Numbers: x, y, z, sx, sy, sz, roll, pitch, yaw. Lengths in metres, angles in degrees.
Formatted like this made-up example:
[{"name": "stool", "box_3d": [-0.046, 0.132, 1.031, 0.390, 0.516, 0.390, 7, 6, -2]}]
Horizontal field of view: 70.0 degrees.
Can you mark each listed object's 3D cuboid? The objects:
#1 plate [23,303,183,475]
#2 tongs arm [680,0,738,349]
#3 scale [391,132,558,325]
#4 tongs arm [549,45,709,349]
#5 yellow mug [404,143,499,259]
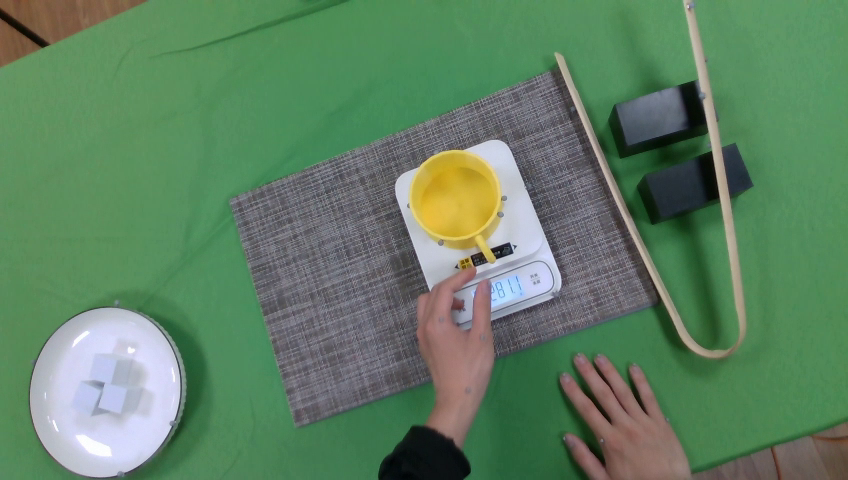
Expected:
[{"name": "plate", "box_3d": [-0.393, 0.182, 0.755, 0.207, 0.039, 0.207, -1, 83, 8]}, {"name": "tongs arm", "box_3d": [0.288, -0.078, 0.643, 0.050, 0.026, 0.384, -12, 87, 34]}, {"name": "scale", "box_3d": [0.057, -0.014, 0.709, 0.148, 0.032, 0.200, -21, 81, 6]}, {"name": "tongs arm", "box_3d": [0.225, -0.056, 0.690, 0.028, 0.028, 0.385, -27, 78, 29]}, {"name": "yellow mug", "box_3d": [0.040, -0.037, 0.666, 0.100, 0.064, 0.130, -31, 81, 3]}]
